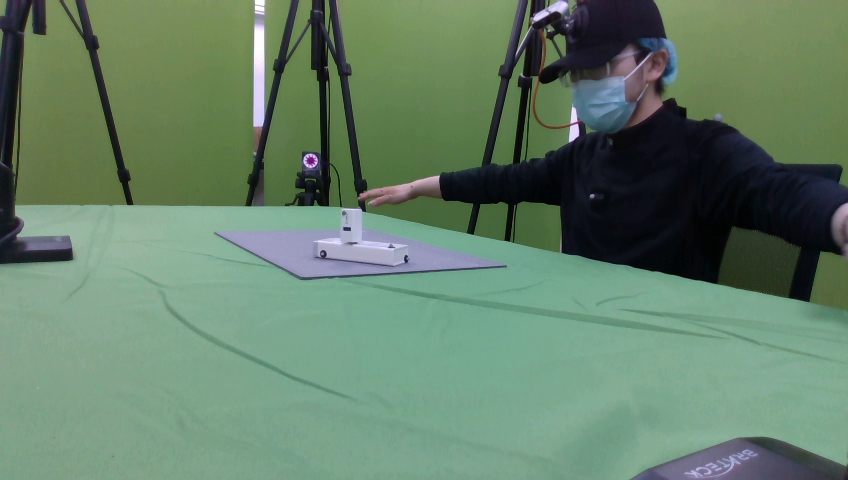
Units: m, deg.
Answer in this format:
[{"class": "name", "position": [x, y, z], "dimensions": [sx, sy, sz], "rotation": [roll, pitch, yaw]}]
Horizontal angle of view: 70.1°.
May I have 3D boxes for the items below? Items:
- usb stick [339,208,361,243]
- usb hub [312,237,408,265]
[{"class": "usb stick", "position": [-0.100, -0.014, 0.815], "dimensions": [0.021, 0.059, 0.027], "rotation": [5, 10, 21]}, {"class": "usb hub", "position": [-0.088, 0.014, 0.829], "dimensions": [0.125, 0.025, 0.050], "rotation": [5, 8, 22]}]
